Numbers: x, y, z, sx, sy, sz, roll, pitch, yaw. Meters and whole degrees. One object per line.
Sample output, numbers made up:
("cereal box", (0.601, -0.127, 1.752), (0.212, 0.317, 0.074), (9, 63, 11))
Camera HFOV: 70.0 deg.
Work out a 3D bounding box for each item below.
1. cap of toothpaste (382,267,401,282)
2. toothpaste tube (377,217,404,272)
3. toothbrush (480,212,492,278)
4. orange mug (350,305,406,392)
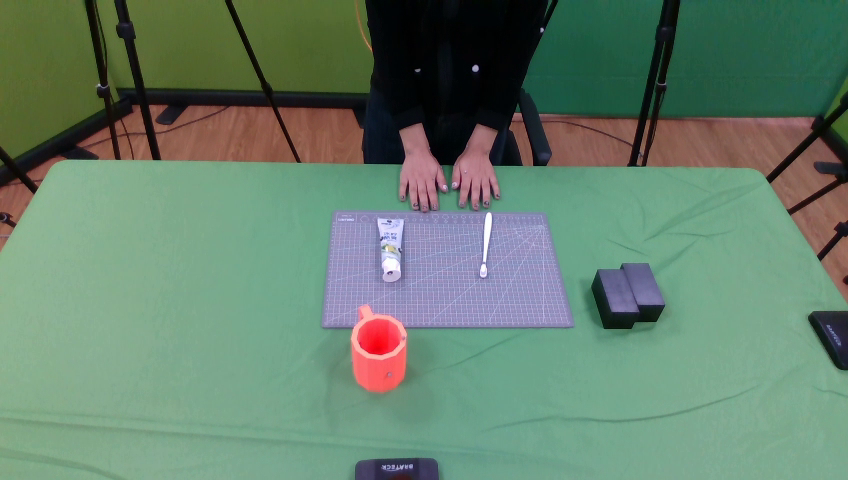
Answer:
("cap of toothpaste", (-0.060, 0.063, 1.119), (0.037, 0.037, 0.011), (-9, 50, -12))
("toothpaste tube", (-0.063, 0.008, 1.179), (0.055, 0.034, 0.164), (5, 42, -9))
("toothbrush", (0.124, 0.004, 1.203), (0.014, 0.017, 0.181), (-2, 43, 13))
("orange mug", (-0.080, 0.168, 0.978), (0.083, 0.101, 0.125), (-16, 54, -18))
